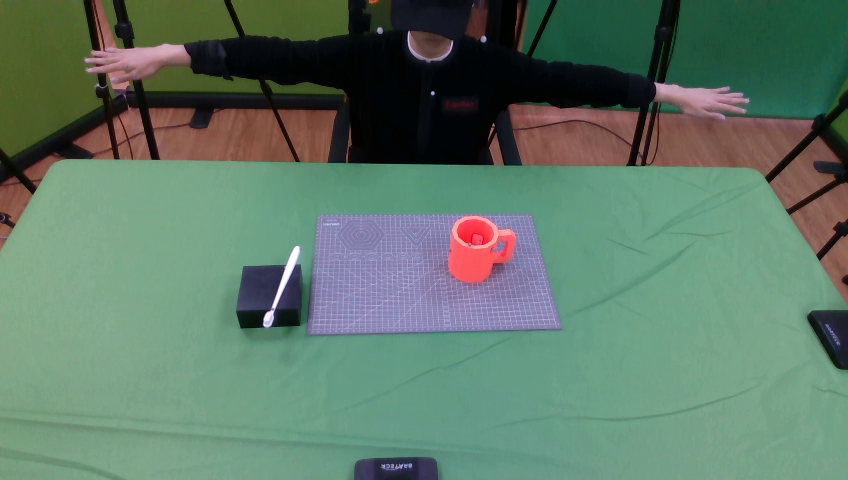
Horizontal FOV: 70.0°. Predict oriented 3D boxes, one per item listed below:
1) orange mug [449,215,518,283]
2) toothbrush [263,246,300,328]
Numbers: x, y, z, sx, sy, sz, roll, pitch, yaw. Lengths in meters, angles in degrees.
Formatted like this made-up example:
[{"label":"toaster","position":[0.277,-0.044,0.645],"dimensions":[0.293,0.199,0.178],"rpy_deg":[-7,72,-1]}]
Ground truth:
[{"label":"orange mug","position":[0.110,0.015,1.130],"dimensions":[0.126,0.101,0.083],"rpy_deg":[-8,47,-6]},{"label":"toothbrush","position":[-0.243,0.074,1.042],"dimensions":[0.014,0.017,0.181],"rpy_deg":[6,45,6]}]
